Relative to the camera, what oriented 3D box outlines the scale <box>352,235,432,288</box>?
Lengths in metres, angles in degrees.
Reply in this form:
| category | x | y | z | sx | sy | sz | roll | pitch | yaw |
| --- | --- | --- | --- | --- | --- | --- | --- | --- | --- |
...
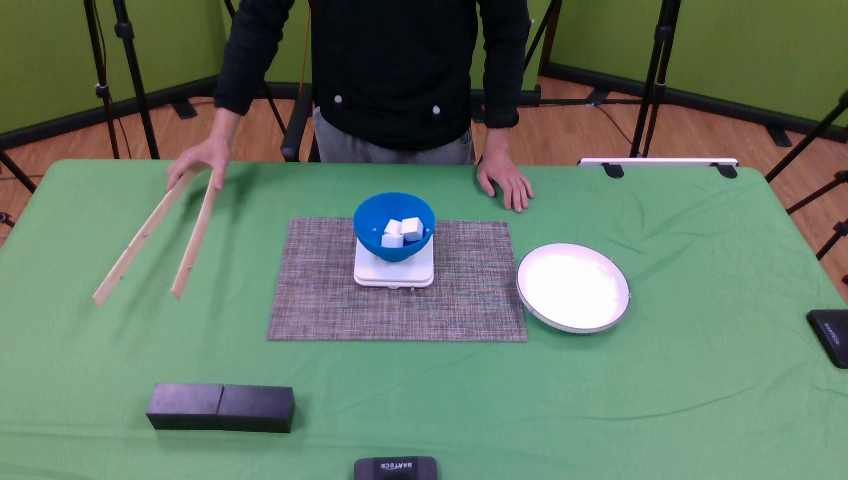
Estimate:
| category | x | y | z | sx | sy | sz | roll | pitch | yaw |
| --- | --- | --- | --- | --- | --- | --- | --- | --- | --- |
| scale | -0.060 | 0.010 | 1.171 | 0.149 | 0.032 | 0.199 | 2 | 46 | -3 |

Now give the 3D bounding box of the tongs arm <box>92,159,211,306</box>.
| category | x | y | z | sx | sy | sz | roll | pitch | yaw |
| --- | --- | --- | --- | --- | --- | --- | --- | --- | --- |
| tongs arm | -0.491 | -0.028 | 1.122 | 0.051 | 0.027 | 0.382 | -3 | 42 | 12 |

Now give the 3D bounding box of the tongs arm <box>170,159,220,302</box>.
| category | x | y | z | sx | sy | sz | roll | pitch | yaw |
| --- | --- | --- | --- | --- | --- | --- | --- | --- | --- |
| tongs arm | -0.416 | -0.034 | 1.112 | 0.028 | 0.028 | 0.385 | -13 | 41 | 5 |

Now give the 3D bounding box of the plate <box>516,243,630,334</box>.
| category | x | y | z | sx | sy | sz | roll | pitch | yaw |
| --- | --- | --- | --- | --- | --- | --- | --- | --- | --- |
| plate | 0.271 | 0.092 | 1.120 | 0.208 | 0.039 | 0.206 | 2 | 46 | -2 |

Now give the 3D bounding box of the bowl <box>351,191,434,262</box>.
| category | x | y | z | sx | sy | sz | roll | pitch | yaw |
| --- | --- | --- | --- | --- | --- | --- | --- | --- | --- |
| bowl | -0.058 | -0.013 | 1.119 | 0.151 | 0.077 | 0.150 | 1 | 46 | -1 |
